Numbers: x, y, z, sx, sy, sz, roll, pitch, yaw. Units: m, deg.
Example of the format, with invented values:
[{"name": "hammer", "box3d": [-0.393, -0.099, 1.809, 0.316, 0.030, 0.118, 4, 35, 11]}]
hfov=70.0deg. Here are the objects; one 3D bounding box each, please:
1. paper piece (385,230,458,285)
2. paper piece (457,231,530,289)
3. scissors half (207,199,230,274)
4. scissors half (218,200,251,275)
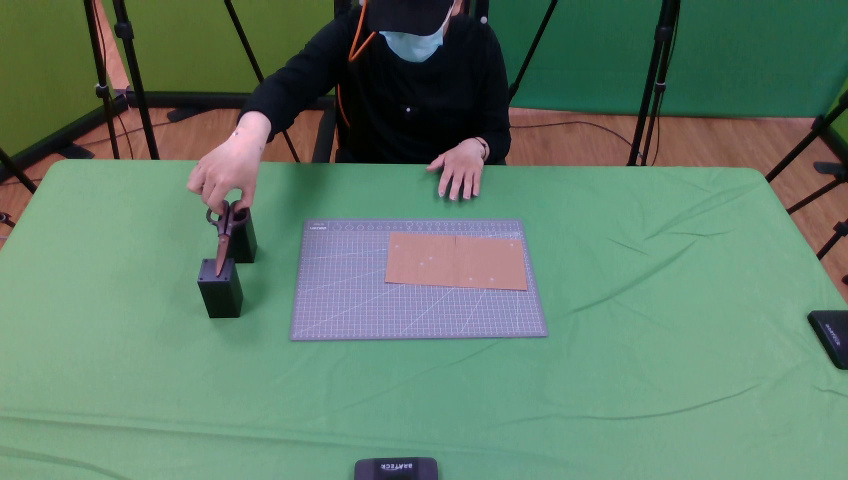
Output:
[{"name": "paper piece", "box3d": [-0.002, 0.031, 1.169, 0.136, 0.004, 0.134, 3, 48, 0]}, {"name": "paper piece", "box3d": [0.132, 0.038, 1.171, 0.138, 0.009, 0.135, 4, 50, -1]}, {"name": "scissors half", "box3d": [-0.352, -0.008, 1.045, 0.040, 0.013, 0.174, -5, 48, -16]}, {"name": "scissors half", "box3d": [-0.332, -0.008, 1.048, 0.040, 0.013, 0.174, 4, 47, -1]}]
